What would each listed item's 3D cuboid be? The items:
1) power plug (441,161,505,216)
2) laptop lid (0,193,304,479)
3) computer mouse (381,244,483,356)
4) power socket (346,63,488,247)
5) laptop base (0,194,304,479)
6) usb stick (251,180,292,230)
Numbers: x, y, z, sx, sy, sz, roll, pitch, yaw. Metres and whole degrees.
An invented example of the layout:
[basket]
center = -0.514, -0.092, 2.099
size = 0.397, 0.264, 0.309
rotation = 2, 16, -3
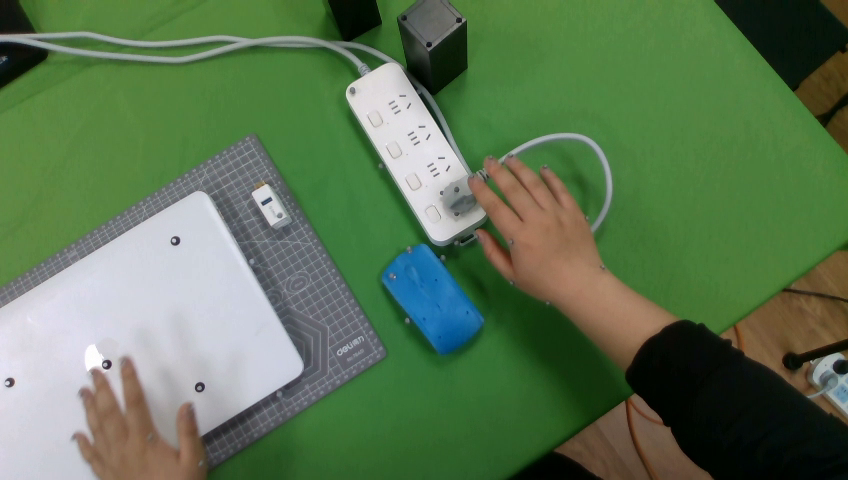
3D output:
[power plug]
center = 0.053, -0.049, 0.632
size = 0.072, 0.053, 0.035
rotation = -18, 80, -1
[laptop lid]
center = -0.331, 0.133, 0.641
size = 0.357, 0.013, 0.241
rotation = -30, 82, -2
[computer mouse]
center = 0.007, 0.061, 0.634
size = 0.063, 0.041, 0.116
rotation = -37, 75, -2
[power socket]
center = -0.009, -0.094, 0.665
size = 0.072, 0.033, 0.225
rotation = -30, 79, -2
[laptop base]
center = -0.331, 0.133, 0.653
size = 0.354, 0.023, 0.234
rotation = -32, 82, -2
[usb stick]
center = -0.171, -0.041, 0.667
size = 0.021, 0.027, 0.059
rotation = -33, 77, 1
